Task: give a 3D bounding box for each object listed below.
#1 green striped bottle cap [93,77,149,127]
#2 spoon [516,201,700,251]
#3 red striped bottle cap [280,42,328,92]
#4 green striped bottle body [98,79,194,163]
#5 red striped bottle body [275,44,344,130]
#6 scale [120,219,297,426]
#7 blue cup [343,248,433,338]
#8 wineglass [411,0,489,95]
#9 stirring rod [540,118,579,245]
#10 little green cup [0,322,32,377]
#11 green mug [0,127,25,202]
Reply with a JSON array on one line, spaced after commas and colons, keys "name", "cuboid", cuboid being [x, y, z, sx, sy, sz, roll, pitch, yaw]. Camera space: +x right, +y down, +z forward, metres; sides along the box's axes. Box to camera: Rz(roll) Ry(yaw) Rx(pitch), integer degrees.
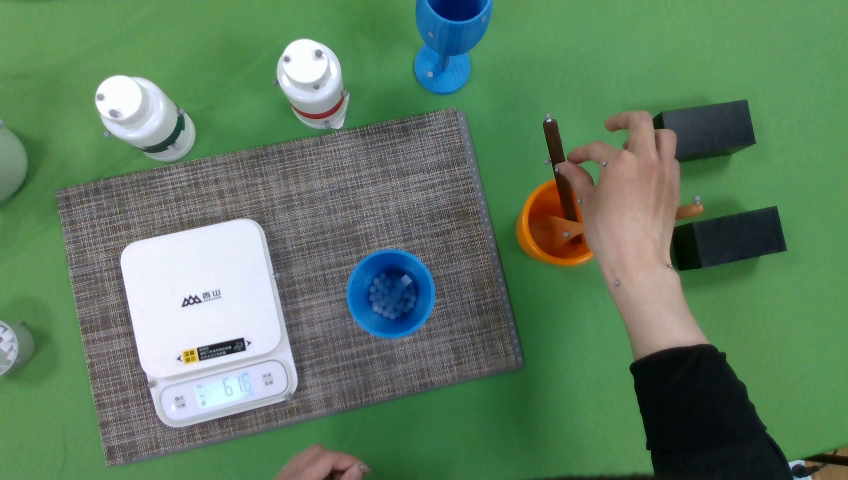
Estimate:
[{"name": "green striped bottle cap", "cuboid": [-0.280, -0.128, 0.560, 0.044, 0.020, 0.044, 0, 85, -2]}, {"name": "spoon", "cuboid": [0.182, -0.016, 0.623, 0.022, 0.193, 0.041, -13, 93, -48]}, {"name": "red striped bottle cap", "cuboid": [-0.114, -0.165, 0.577, 0.044, 0.018, 0.044, 0, 82, -3]}, {"name": "green striped bottle body", "cuboid": [-0.283, -0.121, 0.615, 0.063, 0.119, 0.063, 0, 84, -4]}, {"name": "red striped bottle body", "cuboid": [-0.118, -0.160, 0.630, 0.063, 0.120, 0.063, 0, 84, -4]}, {"name": "scale", "cuboid": [-0.227, 0.086, 0.641, 0.149, 0.031, 0.200, -14, 86, -5]}, {"name": "blue cup", "cuboid": [-0.035, 0.055, 0.622, 0.093, 0.100, 0.092, 0, 85, -2]}, {"name": "wineglass", "cuboid": [0.022, -0.209, 0.617, 0.074, 0.172, 0.073, 0, 84, -3]}, {"name": "stirring rod", "cuboid": [0.141, -0.054, 0.622, 0.014, 0.178, 0.006, 1, 50, 25]}, {"name": "little green cup", "cuboid": [-0.441, 0.112, 0.624, 0.061, 0.038, 0.061, 1, 85, -5]}, {"name": "green mug", "cuboid": [-0.478, -0.068, 0.605, 0.092, 0.105, 0.125, 22, 84, -2]}]
